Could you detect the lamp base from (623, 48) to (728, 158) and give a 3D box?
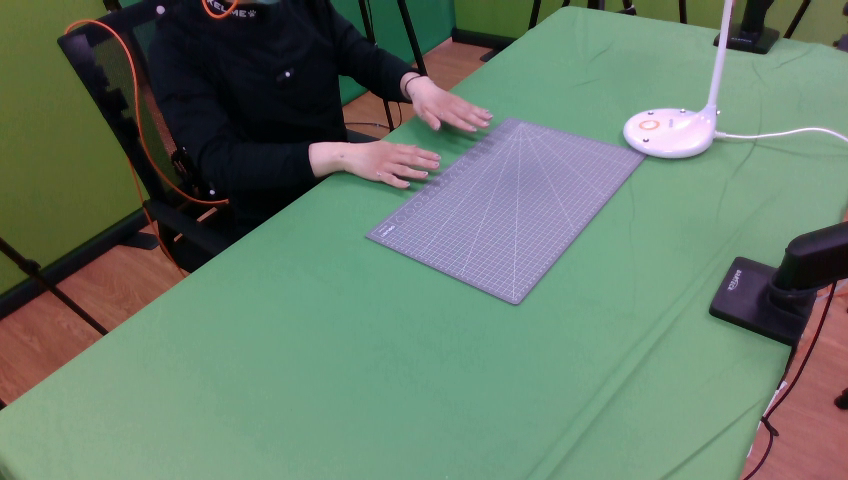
[{"bbox_3d":[0.462,-0.261,1.084,0.179,0.181,0.160,3,42,7],"label":"lamp base"}]
